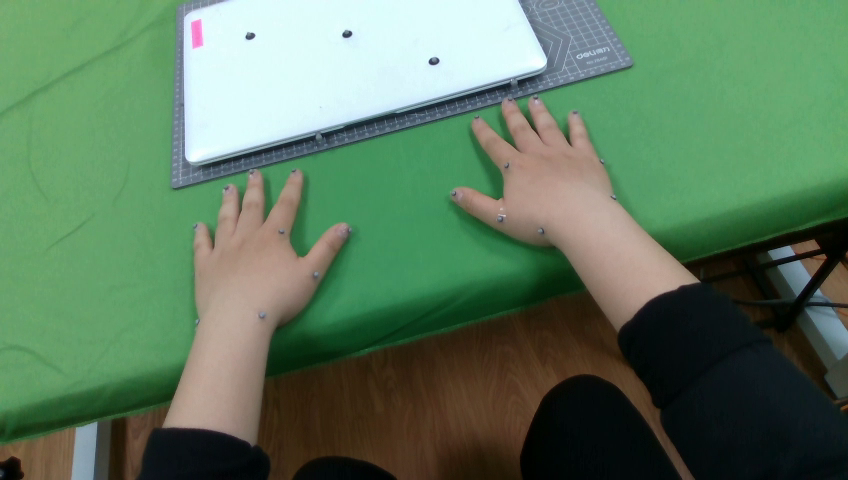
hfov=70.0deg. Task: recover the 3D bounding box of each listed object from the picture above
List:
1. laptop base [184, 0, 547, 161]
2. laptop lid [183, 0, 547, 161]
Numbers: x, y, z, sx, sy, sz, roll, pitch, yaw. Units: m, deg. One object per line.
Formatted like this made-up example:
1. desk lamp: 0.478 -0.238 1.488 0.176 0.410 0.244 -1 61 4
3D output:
1. laptop base: -0.076 -0.208 0.633 0.354 0.023 0.233 -15 59 0
2. laptop lid: -0.077 -0.212 0.622 0.357 0.013 0.239 -14 58 1
